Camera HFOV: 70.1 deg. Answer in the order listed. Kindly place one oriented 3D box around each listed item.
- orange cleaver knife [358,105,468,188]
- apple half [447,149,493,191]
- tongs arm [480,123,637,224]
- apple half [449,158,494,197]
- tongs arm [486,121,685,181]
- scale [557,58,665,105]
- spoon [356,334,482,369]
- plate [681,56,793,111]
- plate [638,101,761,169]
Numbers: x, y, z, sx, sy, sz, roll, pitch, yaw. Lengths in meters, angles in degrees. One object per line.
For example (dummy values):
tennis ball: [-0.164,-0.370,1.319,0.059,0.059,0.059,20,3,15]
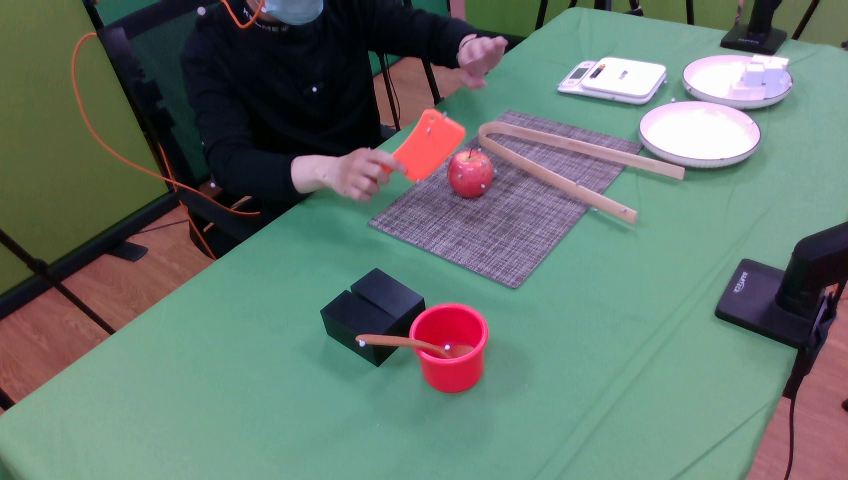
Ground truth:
orange cleaver knife: [-0.021,-0.129,0.934,0.210,0.077,0.012,-37,20,36]
apple half: [0.081,-0.125,1.066,0.081,0.075,0.053,-8,37,4]
tongs arm: [0.227,-0.128,1.080,0.051,0.026,0.381,-33,46,-26]
apple half: [0.083,-0.101,1.036,0.081,0.081,0.032,-6,37,2]
tongs arm: [0.287,-0.170,1.124,0.384,0.028,0.028,21,52,29]
scale: [0.406,-0.348,1.314,0.199,0.032,0.149,19,47,28]
spoon: [-0.001,0.130,0.731,0.195,0.021,0.041,21,27,-39]
plate: [0.636,-0.317,1.239,0.207,0.039,0.206,-4,40,4]
plate: [0.500,-0.190,1.111,0.209,0.038,0.208,-4,41,4]
